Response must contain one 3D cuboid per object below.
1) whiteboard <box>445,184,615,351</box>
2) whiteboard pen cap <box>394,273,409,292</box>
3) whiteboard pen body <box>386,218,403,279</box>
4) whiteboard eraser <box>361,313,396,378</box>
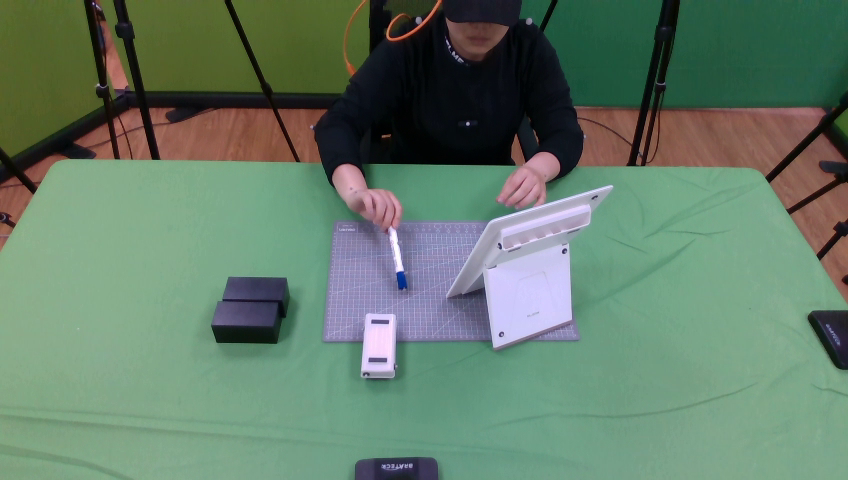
[{"bbox_3d":[0.187,0.065,0.989,0.217,0.306,0.143,-15,68,-18],"label":"whiteboard"},{"bbox_3d":[-0.042,0.079,1.110,0.018,0.018,0.033,27,86,20],"label":"whiteboard pen cap"},{"bbox_3d":[-0.054,0.022,1.134,0.017,0.017,0.140,-6,64,-10],"label":"whiteboard pen body"},{"bbox_3d":[-0.075,0.176,1.006,0.055,0.042,0.112,3,50,-4],"label":"whiteboard eraser"}]
